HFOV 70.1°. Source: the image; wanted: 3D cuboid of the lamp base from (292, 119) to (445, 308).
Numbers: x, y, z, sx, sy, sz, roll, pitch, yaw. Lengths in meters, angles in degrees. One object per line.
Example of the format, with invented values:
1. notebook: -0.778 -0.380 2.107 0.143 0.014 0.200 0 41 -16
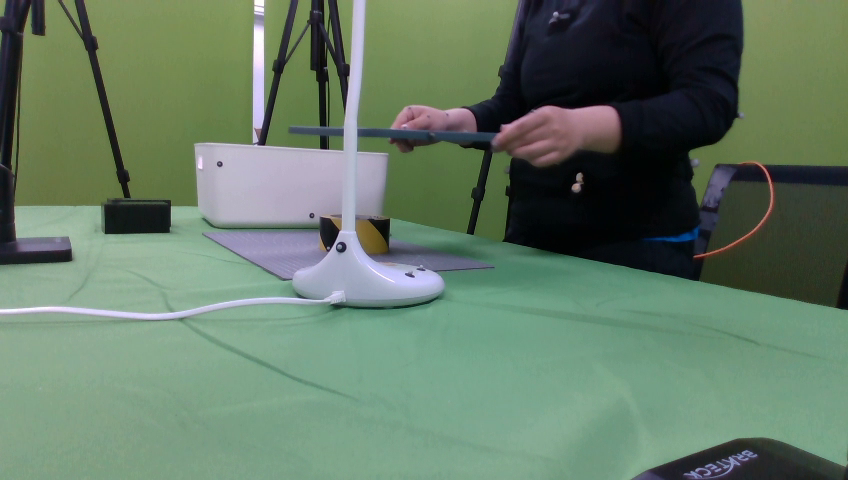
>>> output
1. lamp base: -0.056 -0.030 0.616 0.160 0.180 0.179 3 10 8

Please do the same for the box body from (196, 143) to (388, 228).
1. box body: -0.286 -0.118 1.291 0.366 0.160 0.253 -1 8 -27

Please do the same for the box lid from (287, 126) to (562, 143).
1. box lid: 0.003 -0.162 0.935 0.373 0.015 0.262 -5 12 -37

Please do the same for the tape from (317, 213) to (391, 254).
1. tape: -0.109 -0.012 0.938 0.117 0.052 0.117 2 7 0
